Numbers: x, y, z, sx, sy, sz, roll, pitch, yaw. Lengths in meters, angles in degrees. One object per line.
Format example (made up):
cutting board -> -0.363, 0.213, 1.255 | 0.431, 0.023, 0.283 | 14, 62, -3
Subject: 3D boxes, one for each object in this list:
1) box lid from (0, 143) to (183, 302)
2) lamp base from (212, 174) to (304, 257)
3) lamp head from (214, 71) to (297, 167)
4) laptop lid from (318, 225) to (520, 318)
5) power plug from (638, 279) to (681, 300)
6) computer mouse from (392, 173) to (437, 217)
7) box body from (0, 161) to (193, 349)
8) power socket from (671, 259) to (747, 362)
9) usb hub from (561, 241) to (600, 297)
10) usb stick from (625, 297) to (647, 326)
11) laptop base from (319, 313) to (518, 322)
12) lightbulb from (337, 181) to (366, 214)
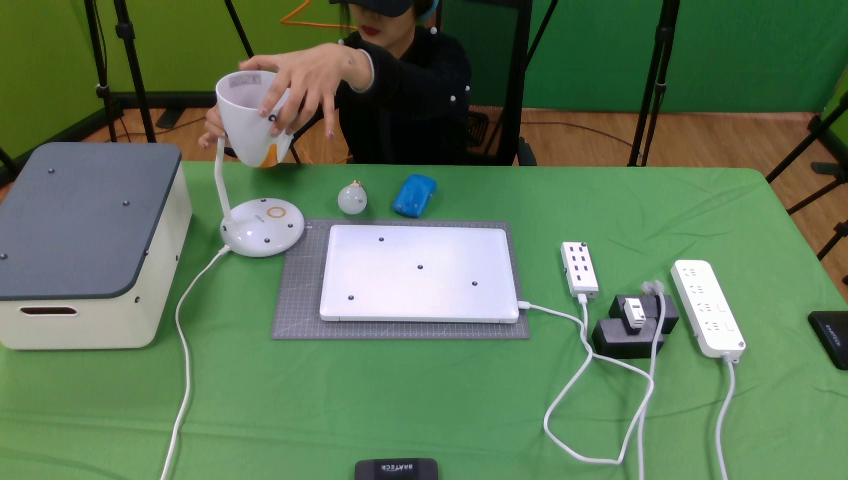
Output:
box lid -> -0.567, -0.045, 0.999 | 0.263, 0.015, 0.369 | -1, 46, -4
lamp base -> -0.324, -0.074, 1.135 | 0.160, 0.181, 0.179 | 28, 53, 23
lamp head -> -0.242, -0.169, 0.874 | 0.112, 0.123, 0.111 | 8, 45, -8
laptop lid -> -0.009, 0.052, 1.131 | 0.357, 0.013, 0.240 | 2, 44, -2
power plug -> 0.434, 0.099, 1.118 | 0.073, 0.053, 0.035 | 34, 37, -15
computer mouse -> -0.018, -0.098, 1.282 | 0.062, 0.041, 0.117 | 20, 51, 12
box body -> -0.570, 0.006, 1.054 | 0.254, 0.161, 0.361 | -1, 46, -4
power socket -> 0.516, 0.119, 1.108 | 0.072, 0.033, 0.225 | 1, 46, -2
usb hub -> 0.300, 0.055, 1.162 | 0.049, 0.025, 0.124 | 2, 46, -3
usb stick -> 0.360, 0.116, 1.034 | 0.021, 0.027, 0.059 | -2, 44, -2
laptop base -> -0.009, 0.062, 1.137 | 0.354, 0.023, 0.234 | 1, 42, -3
lightbulb -> -0.147, -0.094, 1.261 | 0.059, 0.060, 0.107 | 4, 30, 0
